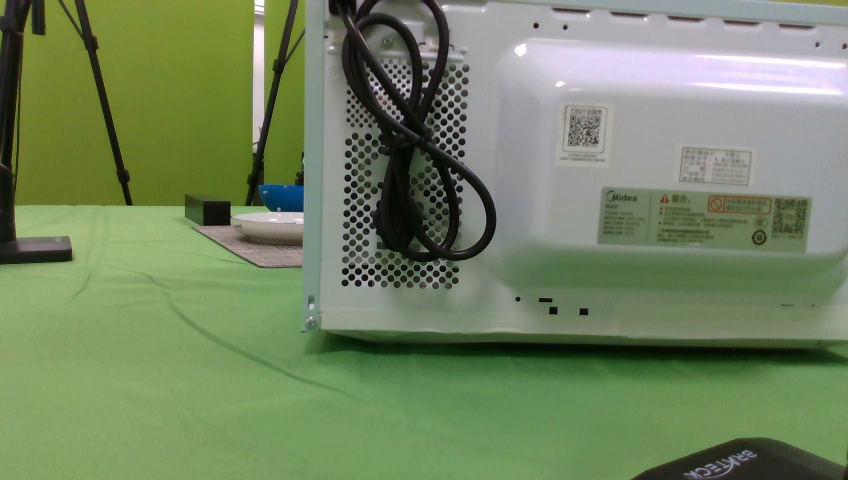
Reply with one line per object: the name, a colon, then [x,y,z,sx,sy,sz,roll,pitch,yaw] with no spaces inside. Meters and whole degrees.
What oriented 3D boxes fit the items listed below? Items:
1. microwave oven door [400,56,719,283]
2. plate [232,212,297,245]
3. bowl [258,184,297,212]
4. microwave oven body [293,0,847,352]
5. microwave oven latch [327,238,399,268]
microwave oven door: [0.155,-0.077,0.698,0.356,0.243,0.039,2,8,-5]
plate: [-0.214,-0.019,1.018,0.208,0.039,0.207,2,7,0]
bowl: [-0.286,-0.079,1.327,0.151,0.077,0.151,3,8,0]
microwave oven body: [0.122,-0.055,0.550,0.442,0.260,0.325,3,7,-5]
microwave oven latch: [-0.069,0.015,0.694,0.079,0.029,0.030,3,7,-3]
